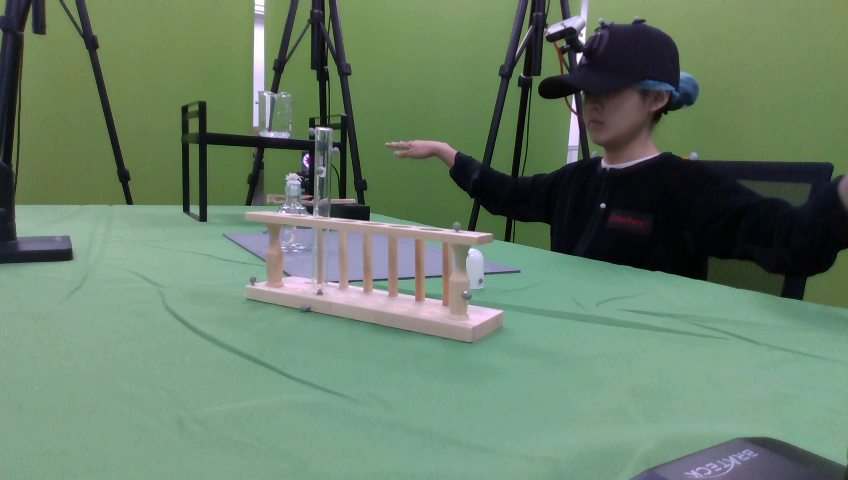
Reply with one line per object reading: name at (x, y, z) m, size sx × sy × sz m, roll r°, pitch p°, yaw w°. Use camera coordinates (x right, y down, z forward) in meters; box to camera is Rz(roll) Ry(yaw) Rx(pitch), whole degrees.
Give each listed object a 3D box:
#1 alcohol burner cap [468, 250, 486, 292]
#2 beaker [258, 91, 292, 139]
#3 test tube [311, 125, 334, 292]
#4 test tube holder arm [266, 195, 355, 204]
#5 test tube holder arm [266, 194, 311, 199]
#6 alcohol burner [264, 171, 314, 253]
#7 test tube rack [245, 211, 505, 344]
alcohol burner cap at (0.056, 0.035, 0.690) m, size 0.034 × 0.048 × 0.034 m, roll 2°, pitch 7°, yaw 0°
beaker at (-0.331, -0.276, 1.343) m, size 0.074 × 0.100 × 0.083 m, roll 0°, pitch 8°, yaw -20°
test tube at (-0.092, -0.027, 0.543) m, size 0.017 × 0.150 × 0.017 m, roll 4°, pitch 10°, yaw 0°
test tube holder arm at (-0.222, -0.081, 1.196) m, size 0.179 × 0.013 × 0.015 m, roll -4°, pitch 3°, yaw -30°
test tube holder arm at (-0.262, -0.084, 1.173) m, size 0.088 × 0.010 × 0.015 m, roll -3°, pitch 2°, yaw -30°
alcohol burner at (-0.194, -0.042, 0.888) m, size 0.078 × 0.119 × 0.078 m, roll 3°, pitch 5°, yaw 0°
test tube rack at (-0.049, 0.025, 0.547) m, size 0.241 × 0.085 × 0.067 m, roll 7°, pitch 8°, yaw 29°
